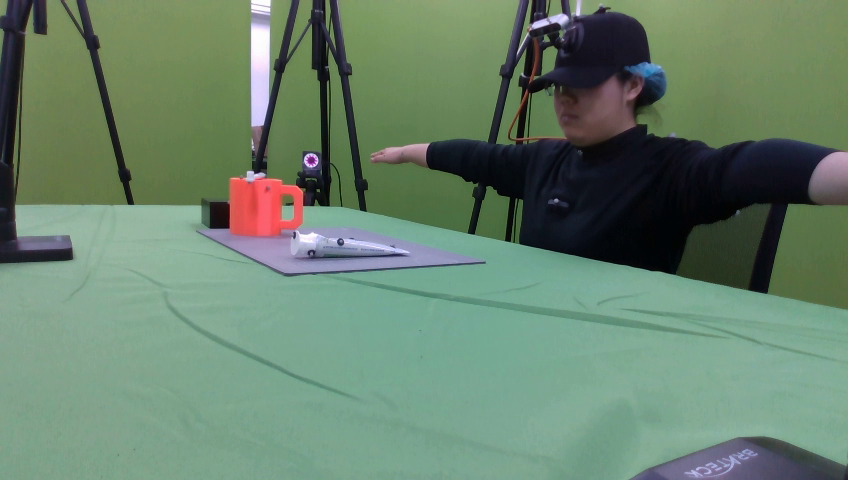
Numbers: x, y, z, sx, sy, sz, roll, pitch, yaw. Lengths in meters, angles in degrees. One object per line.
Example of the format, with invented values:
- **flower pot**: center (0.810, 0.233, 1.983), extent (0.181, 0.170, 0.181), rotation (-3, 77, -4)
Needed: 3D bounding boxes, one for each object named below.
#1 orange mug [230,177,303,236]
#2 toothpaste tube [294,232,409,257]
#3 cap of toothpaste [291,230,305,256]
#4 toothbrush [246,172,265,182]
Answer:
- **orange mug**: center (-0.275, -0.060, 1.058), extent (0.126, 0.101, 0.083), rotation (-2, 8, -5)
- **toothpaste tube**: center (-0.103, 0.010, 0.853), extent (0.166, 0.034, 0.055), rotation (3, 10, -34)
- **cap of toothpaste**: center (-0.169, 0.004, 0.812), extent (0.011, 0.037, 0.037), rotation (6, 4, -30)
- **toothbrush**: center (-0.292, -0.112, 1.050), extent (0.014, 0.016, 0.181), rotation (-4, 8, -8)
